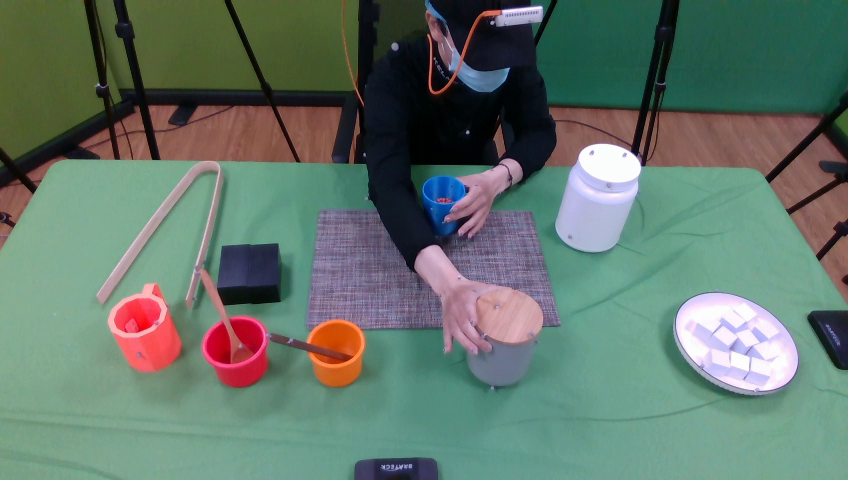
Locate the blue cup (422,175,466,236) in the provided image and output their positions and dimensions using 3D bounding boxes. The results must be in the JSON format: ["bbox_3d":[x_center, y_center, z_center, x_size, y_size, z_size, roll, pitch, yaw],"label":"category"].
[{"bbox_3d":[0.038,-0.063,1.200,0.092,0.101,0.092,1,45,-1],"label":"blue cup"}]

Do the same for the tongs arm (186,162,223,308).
[{"bbox_3d":[-0.436,-0.024,1.181,0.051,0.027,0.382,-3,45,1],"label":"tongs arm"}]

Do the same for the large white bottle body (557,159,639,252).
[{"bbox_3d":[0.340,-0.081,1.185,0.131,0.185,0.130,2,46,-1],"label":"large white bottle body"}]

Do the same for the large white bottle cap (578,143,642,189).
[{"bbox_3d":[0.344,-0.139,1.123,0.115,0.018,0.114,2,47,-2],"label":"large white bottle cap"}]

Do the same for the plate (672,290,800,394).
[{"bbox_3d":[0.533,0.179,1.050,0.208,0.039,0.206,2,46,-2],"label":"plate"}]

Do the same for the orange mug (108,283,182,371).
[{"bbox_3d":[-0.446,0.134,0.982,0.083,0.101,0.125,-1,51,-5],"label":"orange mug"}]

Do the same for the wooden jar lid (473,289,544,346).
[{"bbox_3d":[0.128,0.120,0.929,0.108,0.021,0.107,1,45,-1],"label":"wooden jar lid"}]

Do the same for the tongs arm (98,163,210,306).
[{"bbox_3d":[-0.520,-0.026,1.185,0.028,0.028,0.385,4,45,13],"label":"tongs arm"}]

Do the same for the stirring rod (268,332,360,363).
[{"bbox_3d":[-0.167,0.169,0.942,0.177,0.006,0.014,26,28,-41],"label":"stirring rod"}]

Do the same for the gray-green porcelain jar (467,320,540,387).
[{"bbox_3d":[0.124,0.165,0.972,0.106,0.127,0.105,3,44,-3],"label":"gray-green porcelain jar"}]

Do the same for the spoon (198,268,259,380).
[{"bbox_3d":[-0.312,0.133,0.962,0.041,0.021,0.194,-24,96,-21],"label":"spoon"}]
